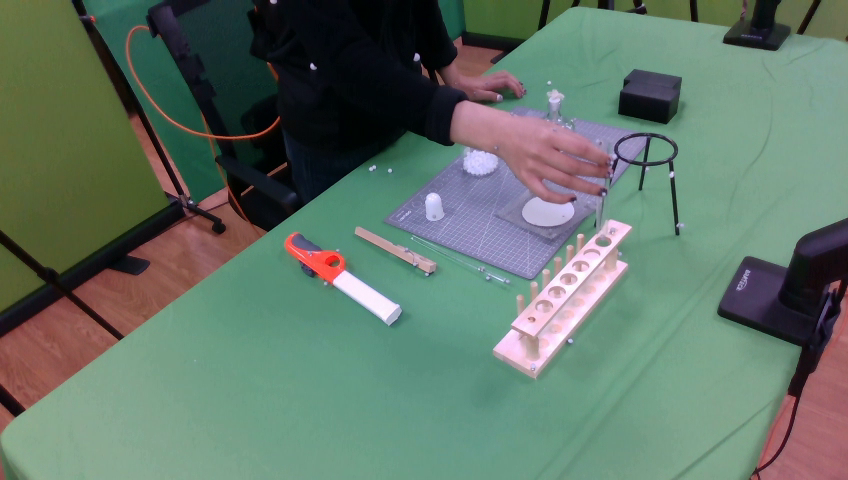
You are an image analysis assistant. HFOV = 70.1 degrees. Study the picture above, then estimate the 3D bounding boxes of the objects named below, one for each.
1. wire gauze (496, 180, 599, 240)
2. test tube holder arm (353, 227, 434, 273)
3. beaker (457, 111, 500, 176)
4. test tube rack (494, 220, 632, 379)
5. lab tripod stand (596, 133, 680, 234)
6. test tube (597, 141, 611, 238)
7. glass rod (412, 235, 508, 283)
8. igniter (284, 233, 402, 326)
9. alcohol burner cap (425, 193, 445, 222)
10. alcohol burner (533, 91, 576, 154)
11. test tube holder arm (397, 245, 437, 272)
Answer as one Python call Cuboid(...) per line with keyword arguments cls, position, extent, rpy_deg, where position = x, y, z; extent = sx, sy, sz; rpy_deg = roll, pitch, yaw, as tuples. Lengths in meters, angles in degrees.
Cuboid(cls="wire gauze", position=(0.206, -0.050, 1.012), extent=(0.125, 0.011, 0.120), rpy_deg=(-34, 45, -26))
Cuboid(cls="test tube holder arm", position=(-0.052, 0.014, 0.979), extent=(0.177, 0.015, 0.013), rpy_deg=(25, 17, 35))
Cuboid(cls="beaker", position=(0.104, -0.176, 1.108), extent=(0.073, 0.101, 0.084), rpy_deg=(16, 46, 27))
Cuboid(cls="test tube rack", position=(0.191, 0.068, 0.818), extent=(0.066, 0.085, 0.243), rpy_deg=(25, 51, 35))
Cuboid(cls="lab tripod stand", position=(0.338, -0.090, 0.940), extent=(0.148, 0.132, 0.147), rpy_deg=(-7, 39, 6))
Cuboid(cls="test tube", position=(0.228, -0.060, 0.765), extent=(0.017, 0.151, 0.017), rpy_deg=(-8, 41, 7))
Cuboid(cls="glass rod", position=(0.051, 0.028, 0.951), extent=(0.198, 0.008, 0.008), rpy_deg=(25, 51, 37))
Cuboid(cls="igniter", position=(-0.136, 0.054, 0.942), extent=(0.274, 0.025, 0.057), rpy_deg=(30, 64, 37))
Cuboid(cls="alcohol burner cap", position=(0.017, -0.058, 1.029), extent=(0.034, 0.048, 0.033), rpy_deg=(-6, 40, 5))
Cuboid(cls="alcohol burner", position=(0.243, -0.222, 1.124), extent=(0.078, 0.119, 0.077), rpy_deg=(-4, 39, 4))
Cuboid(cls="test tube holder arm", position=(-0.016, 0.029, 0.957), extent=(0.087, 0.015, 0.010), rpy_deg=(25, 17, 35))
